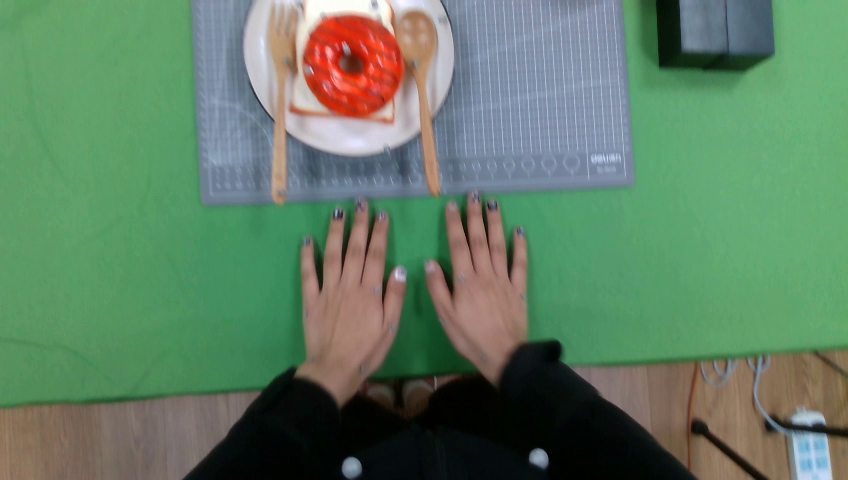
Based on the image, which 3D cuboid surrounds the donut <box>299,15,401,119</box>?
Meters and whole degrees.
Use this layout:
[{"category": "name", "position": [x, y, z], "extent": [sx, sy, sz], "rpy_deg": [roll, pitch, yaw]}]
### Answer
[{"category": "donut", "position": [-0.071, -0.166, 0.583], "extent": [0.099, 0.048, 0.099], "rpy_deg": [0, 91, -8]}]

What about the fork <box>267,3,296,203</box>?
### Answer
[{"category": "fork", "position": [-0.141, -0.136, 0.591], "extent": [0.028, 0.018, 0.206], "rpy_deg": [4, 75, -19]}]

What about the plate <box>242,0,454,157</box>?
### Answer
[{"category": "plate", "position": [-0.074, -0.184, 0.611], "extent": [0.209, 0.038, 0.208], "rpy_deg": [0, 87, -6]}]

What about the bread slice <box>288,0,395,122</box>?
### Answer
[{"category": "bread slice", "position": [-0.081, -0.189, 0.613], "extent": [0.105, 0.019, 0.131], "rpy_deg": [3, 88, -7]}]

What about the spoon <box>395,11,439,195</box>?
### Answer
[{"category": "spoon", "position": [-0.003, -0.138, 0.601], "extent": [0.041, 0.022, 0.192], "rpy_deg": [-5, 75, -1]}]
